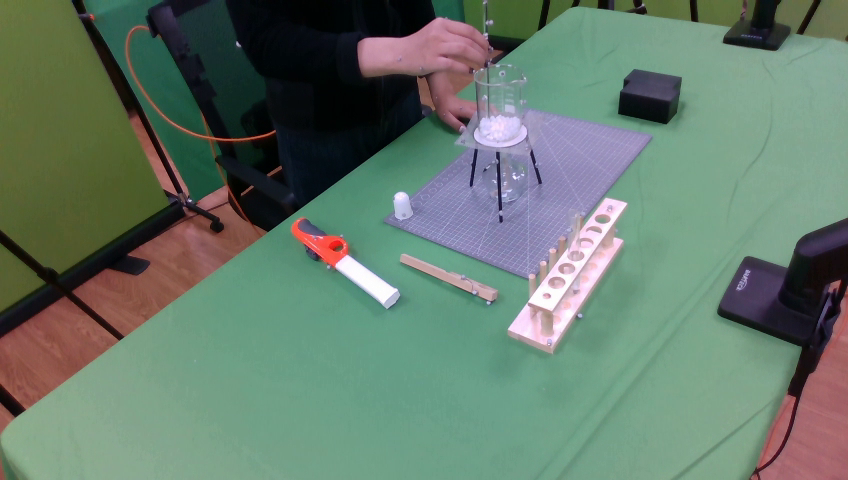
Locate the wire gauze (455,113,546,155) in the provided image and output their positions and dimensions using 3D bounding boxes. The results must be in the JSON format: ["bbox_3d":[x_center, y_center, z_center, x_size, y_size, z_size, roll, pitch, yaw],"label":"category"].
[{"bbox_3d":[0.124,-0.175,0.973,0.124,0.011,0.121,8,39,21],"label":"wire gauze"}]

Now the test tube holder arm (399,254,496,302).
[{"bbox_3d":[0.032,0.055,0.914,0.177,0.015,0.013,21,15,32],"label":"test tube holder arm"}]

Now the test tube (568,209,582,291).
[{"bbox_3d":[0.200,0.018,0.799,0.017,0.151,0.017,-8,45,8],"label":"test tube"}]

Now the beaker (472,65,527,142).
[{"bbox_3d":[0.120,-0.211,0.942,0.083,0.101,0.074,10,42,21],"label":"beaker"}]

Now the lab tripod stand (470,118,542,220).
[{"bbox_3d":[0.135,-0.128,1.019,0.148,0.132,0.147,-5,38,5],"label":"lab tripod stand"}]

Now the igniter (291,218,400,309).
[{"bbox_3d":[-0.136,0.031,0.970,0.057,0.025,0.274,-41,49,-19],"label":"igniter"}]

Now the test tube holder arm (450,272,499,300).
[{"bbox_3d":[0.071,0.068,0.895,0.087,0.015,0.010,21,15,32],"label":"test tube holder arm"}]

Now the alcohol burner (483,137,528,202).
[{"bbox_3d":[0.138,-0.125,1.030,0.078,0.119,0.077,-4,41,4],"label":"alcohol burner"}]

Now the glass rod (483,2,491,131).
[{"bbox_3d":[0.096,-0.256,0.912,0.008,0.200,0.008,-4,36,3],"label":"glass rod"}]

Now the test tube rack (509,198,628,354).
[{"bbox_3d":[0.206,0.039,0.850,0.066,0.085,0.243,20,48,31],"label":"test tube rack"}]

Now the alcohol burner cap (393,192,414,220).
[{"bbox_3d":[-0.038,-0.061,1.043,0.034,0.048,0.033,-5,41,5],"label":"alcohol burner cap"}]
